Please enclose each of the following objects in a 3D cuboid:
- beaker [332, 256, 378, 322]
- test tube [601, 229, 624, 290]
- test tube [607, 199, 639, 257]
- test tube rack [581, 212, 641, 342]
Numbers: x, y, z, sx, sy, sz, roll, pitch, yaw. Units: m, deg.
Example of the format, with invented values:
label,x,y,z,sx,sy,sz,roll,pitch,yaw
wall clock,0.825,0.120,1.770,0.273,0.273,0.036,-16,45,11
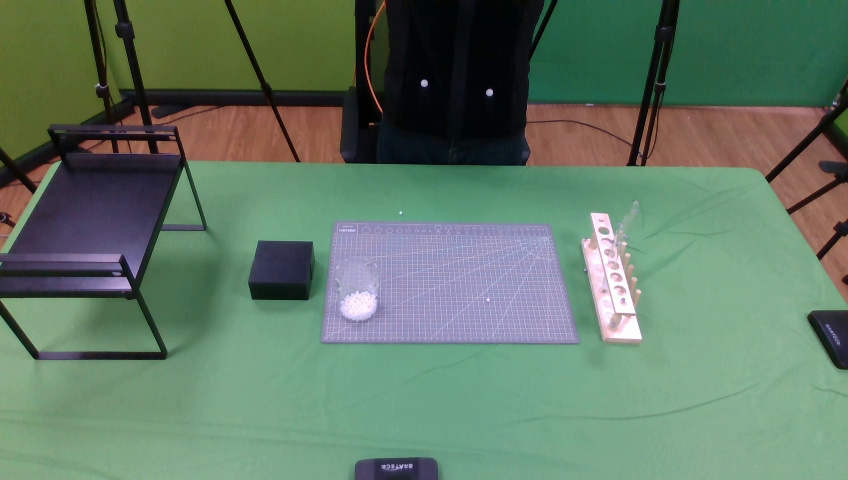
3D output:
label,x,y,z,sx,sy,sz,roll,pitch,yaw
beaker,-0.114,0.089,1.047,0.083,0.101,0.074,30,52,21
test tube,0.333,0.037,1.076,0.017,0.151,0.017,-1,46,2
test tube,0.374,-0.020,1.140,0.017,0.151,0.017,3,47,-3
test tube rack,0.351,0.063,1.121,0.067,0.085,0.241,2,46,-1
